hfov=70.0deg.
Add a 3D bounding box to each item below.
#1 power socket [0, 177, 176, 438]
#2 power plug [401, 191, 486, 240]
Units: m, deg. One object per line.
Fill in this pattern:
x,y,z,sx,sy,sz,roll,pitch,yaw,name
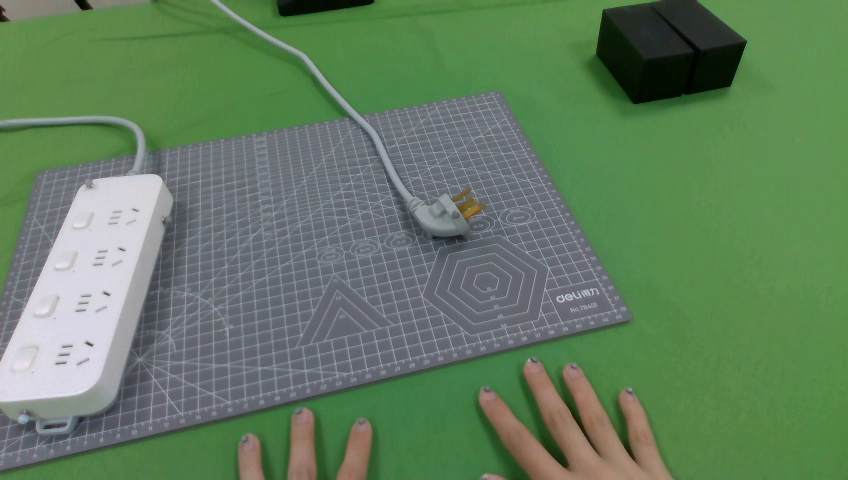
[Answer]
-0.241,0.033,0.448,0.072,0.033,0.224,-4,47,-2,power socket
0.014,-0.031,0.487,0.052,0.035,0.072,-32,64,-3,power plug
